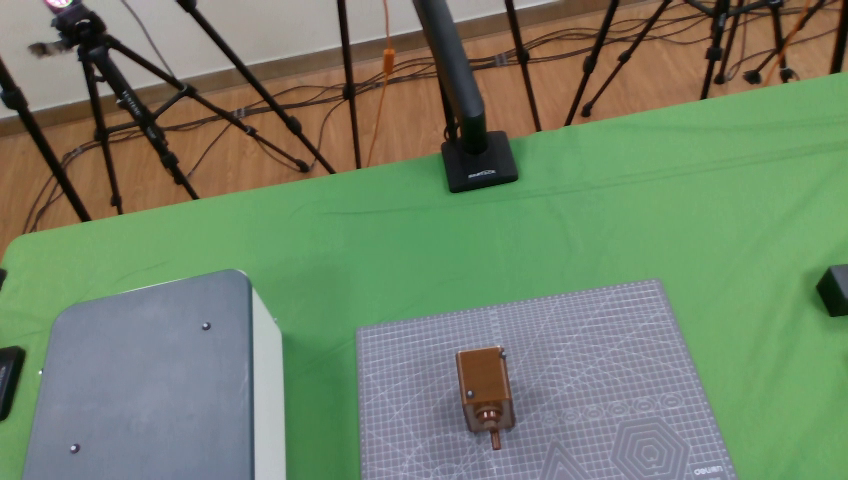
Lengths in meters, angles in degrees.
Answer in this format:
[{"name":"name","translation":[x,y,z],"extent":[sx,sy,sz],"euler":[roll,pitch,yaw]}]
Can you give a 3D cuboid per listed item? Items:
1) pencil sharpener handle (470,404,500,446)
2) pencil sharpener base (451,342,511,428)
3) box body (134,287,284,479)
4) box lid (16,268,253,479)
[{"name":"pencil sharpener handle","translation":[0.078,0.221,0.721],"extent":[0.036,0.068,0.030],"euler":[-13,55,8]},{"name":"pencil sharpener base","translation":[0.073,0.187,0.760],"extent":[0.061,0.108,0.076],"euler":[-9,55,3]},{"name":"box body","translation":[-0.318,0.246,0.756],"extent":[0.254,0.162,0.360],"euler":[-13,54,0]},{"name":"box lid","translation":[-0.325,0.205,0.689],"extent":[0.263,0.015,0.367],"euler":[-13,56,0]}]
